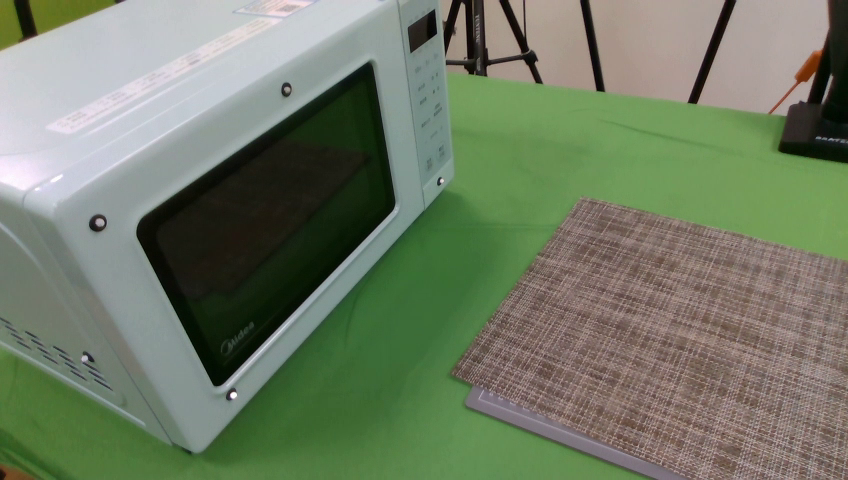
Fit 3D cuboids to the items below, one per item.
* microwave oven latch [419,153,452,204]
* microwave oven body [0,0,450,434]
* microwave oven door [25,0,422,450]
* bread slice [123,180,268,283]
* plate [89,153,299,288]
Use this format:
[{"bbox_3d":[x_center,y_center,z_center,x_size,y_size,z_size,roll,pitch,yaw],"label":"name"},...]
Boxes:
[{"bbox_3d":[0.006,-0.076,0.725,0.030,0.030,0.079,17,45,27],"label":"microwave oven latch"},{"bbox_3d":[-0.221,-0.083,0.615,0.324,0.263,0.440,16,45,26],"label":"microwave oven body"},{"bbox_3d":[-0.116,-0.029,0.520,0.039,0.246,0.354,15,44,26],"label":"microwave oven door"},{"bbox_3d":[-0.230,-0.018,0.625,0.104,0.019,0.131,24,52,32],"label":"bread slice"},{"bbox_3d":[-0.228,-0.020,0.620,0.209,0.038,0.207,-5,38,4],"label":"plate"}]
